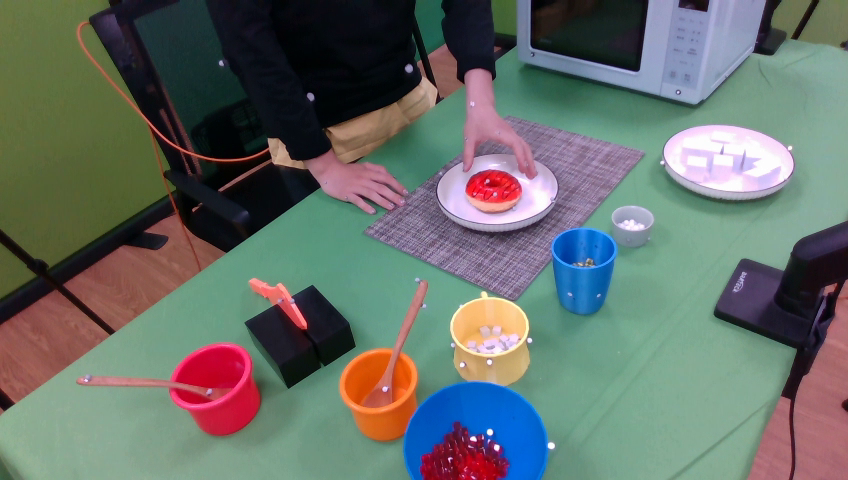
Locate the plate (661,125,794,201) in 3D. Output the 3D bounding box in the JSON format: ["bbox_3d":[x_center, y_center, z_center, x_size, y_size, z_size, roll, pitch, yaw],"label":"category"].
[{"bbox_3d":[0.513,-0.128,1.035,0.207,0.039,0.206,-4,40,4],"label":"plate"}]

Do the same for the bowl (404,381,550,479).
[{"bbox_3d":[0.058,0.235,0.645,0.151,0.077,0.150,-4,39,4],"label":"bowl"}]

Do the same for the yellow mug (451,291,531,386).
[{"bbox_3d":[0.086,0.120,0.786,0.100,0.064,0.130,-7,39,1],"label":"yellow mug"}]

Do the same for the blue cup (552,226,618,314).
[{"bbox_3d":[0.218,0.047,0.825,0.092,0.101,0.092,-6,40,5],"label":"blue cup"}]

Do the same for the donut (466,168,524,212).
[{"bbox_3d":[0.119,-0.084,1.020,0.099,0.048,0.098,-3,39,3],"label":"donut"}]

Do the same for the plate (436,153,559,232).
[{"bbox_3d":[0.125,-0.078,1.029,0.209,0.038,0.208,-4,40,4],"label":"plate"}]

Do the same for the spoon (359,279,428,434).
[{"bbox_3d":[-0.032,0.138,0.719,0.041,0.193,0.022,22,4,29],"label":"spoon"}]

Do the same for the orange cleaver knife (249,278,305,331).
[{"bbox_3d":[-0.210,0.089,0.856,0.012,0.077,0.210,-28,15,-25],"label":"orange cleaver knife"}]

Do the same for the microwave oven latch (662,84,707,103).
[{"bbox_3d":[0.517,-0.296,1.204,0.078,0.029,0.030,27,52,35],"label":"microwave oven latch"}]

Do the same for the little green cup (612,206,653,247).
[{"bbox_3d":[0.321,-0.019,0.936,0.061,0.039,0.061,-4,41,4],"label":"little green cup"}]

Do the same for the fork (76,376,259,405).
[{"bbox_3d":[-0.295,0.176,0.716,0.209,0.018,0.028,19,26,-36],"label":"fork"}]

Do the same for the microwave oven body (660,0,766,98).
[{"bbox_3d":[0.472,-0.513,1.317,0.438,0.261,0.327,26,51,34],"label":"microwave oven body"}]

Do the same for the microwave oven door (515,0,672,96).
[{"bbox_3d":[0.344,-0.455,1.259,0.353,0.245,0.039,26,51,33],"label":"microwave oven door"}]
